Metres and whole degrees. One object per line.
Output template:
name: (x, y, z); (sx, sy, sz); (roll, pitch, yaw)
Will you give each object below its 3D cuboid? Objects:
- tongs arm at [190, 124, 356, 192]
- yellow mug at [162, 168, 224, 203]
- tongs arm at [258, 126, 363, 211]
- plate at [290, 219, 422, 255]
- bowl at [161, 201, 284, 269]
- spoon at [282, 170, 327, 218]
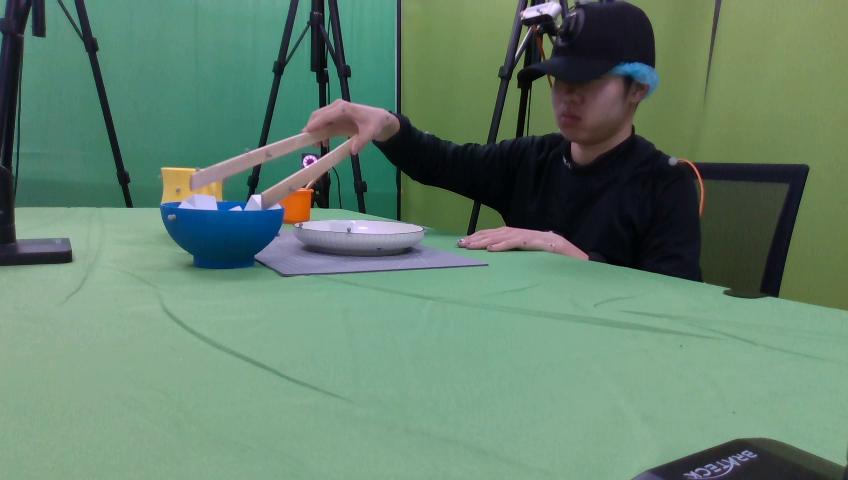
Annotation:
tongs arm: (-0.215, -0.136, 0.947); (0.050, 0.026, 0.385); (14, 25, 16)
yellow mug: (-0.383, -0.087, 1.026); (0.130, 0.064, 0.100); (11, 12, 44)
tongs arm: (-0.162, -0.121, 0.934); (0.028, 0.028, 0.388); (9, 24, 12)
plate: (-0.108, -0.005, 0.963); (0.208, 0.039, 0.207); (3, 7, 0)
bowl: (-0.259, -0.007, 0.783); (0.151, 0.077, 0.151); (3, 8, 0)
spoon: (-0.262, -0.115, 1.359); (0.041, 0.194, 0.022); (13, -33, 38)
